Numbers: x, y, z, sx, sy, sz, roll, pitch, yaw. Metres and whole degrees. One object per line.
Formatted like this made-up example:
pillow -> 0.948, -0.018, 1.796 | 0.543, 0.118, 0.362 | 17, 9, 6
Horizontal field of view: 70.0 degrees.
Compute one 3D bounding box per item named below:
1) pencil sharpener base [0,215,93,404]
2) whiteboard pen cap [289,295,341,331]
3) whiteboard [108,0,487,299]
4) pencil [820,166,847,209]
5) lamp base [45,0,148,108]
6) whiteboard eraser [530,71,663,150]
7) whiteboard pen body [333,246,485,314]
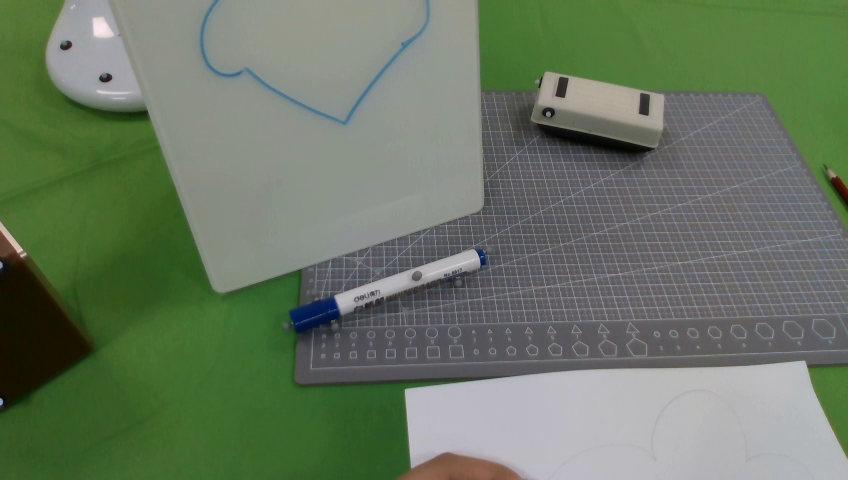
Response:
pencil sharpener base -> -0.258, 0.041, 0.352 | 0.061, 0.108, 0.076 | 39, 60, 22
whiteboard pen cap -> -0.074, 0.049, 0.412 | 0.033, 0.018, 0.018 | -19, 57, -17
whiteboard -> -0.087, -0.149, 0.424 | 0.217, 0.308, 0.142 | -18, 37, -17
pencil -> 0.379, 0.006, 0.499 | 0.012, 0.012, 0.192 | -4, 51, -7
lamp base -> -0.270, -0.232, 0.510 | 0.178, 0.182, 0.160 | 32, 57, 21
whiteboard eraser -> 0.155, -0.116, 0.546 | 0.112, 0.042, 0.055 | 14, 54, 6
whiteboard pen body -> -0.020, 0.031, 0.429 | 0.141, 0.017, 0.017 | -18, 56, -17
